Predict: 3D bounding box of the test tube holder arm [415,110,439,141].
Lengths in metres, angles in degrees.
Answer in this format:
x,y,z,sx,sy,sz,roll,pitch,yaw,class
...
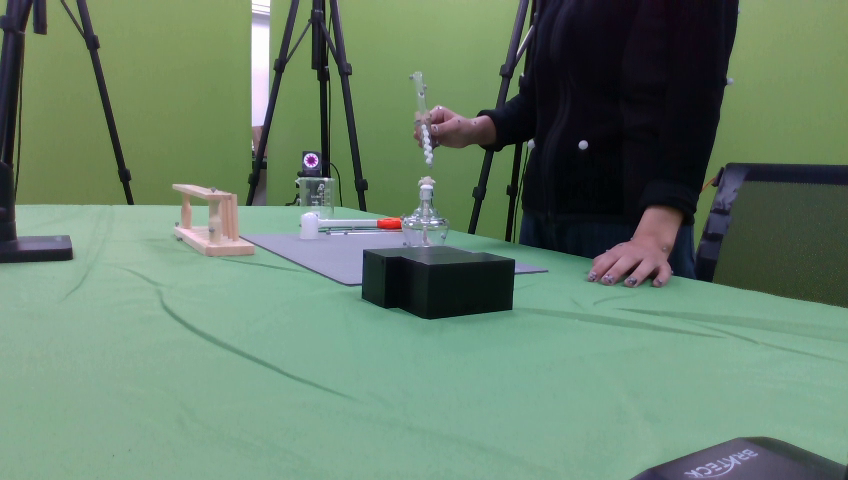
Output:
x,y,z,sx,sy,sz,roll,pitch,yaw,class
0.007,-0.191,1.018,0.013,0.015,0.179,-7,-3,9,test tube holder arm

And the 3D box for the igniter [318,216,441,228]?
x,y,z,sx,sy,sz,roll,pitch,yaw,class
-0.090,-0.036,1.222,0.278,0.025,0.057,-2,-2,-32,igniter

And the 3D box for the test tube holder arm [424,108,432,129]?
x,y,z,sx,sy,sz,roll,pitch,yaw,class
0.007,-0.194,0.972,0.010,0.015,0.088,-7,-3,1,test tube holder arm

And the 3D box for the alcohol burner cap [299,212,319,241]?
x,y,z,sx,sy,sz,roll,pitch,yaw,class
-0.195,-0.024,1.025,0.034,0.048,0.034,3,7,0,alcohol burner cap

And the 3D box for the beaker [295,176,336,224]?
x,y,z,sx,sy,sz,roll,pitch,yaw,class
-0.224,-0.080,1.247,0.084,0.100,0.073,-1,8,-18,beaker

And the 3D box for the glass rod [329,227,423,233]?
x,y,z,sx,sy,sz,roll,pitch,yaw,class
-0.087,-0.019,1.148,0.201,0.008,0.008,-3,8,-32,glass rod

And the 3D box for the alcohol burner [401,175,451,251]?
x,y,z,sx,sy,sz,roll,pitch,yaw,class
0.003,-0.042,0.947,0.078,0.119,0.078,1,9,0,alcohol burner

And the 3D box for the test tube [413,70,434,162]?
x,y,z,sx,sy,sz,roll,pitch,yaw,class
0.000,-0.195,0.950,0.017,0.150,0.017,-7,-8,-1,test tube

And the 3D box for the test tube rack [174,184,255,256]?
x,y,z,sx,sy,sz,roll,pitch,yaw,class
-0.327,-0.036,0.928,0.067,0.085,0.241,-2,9,-32,test tube rack
